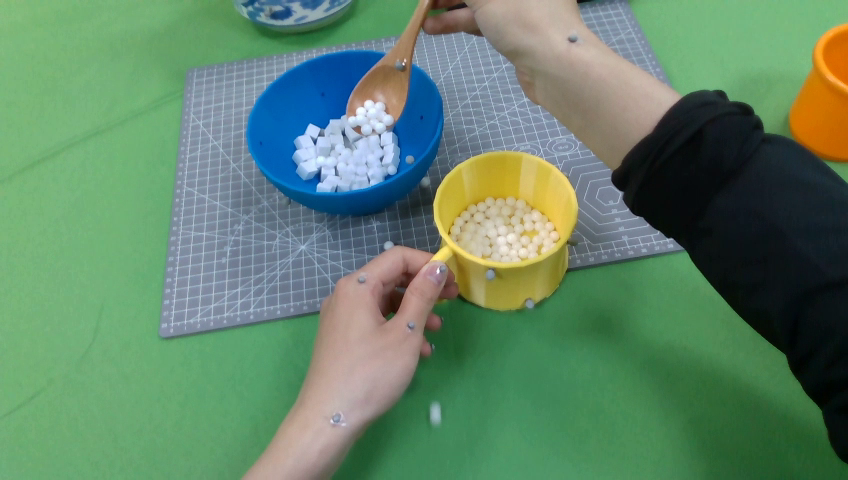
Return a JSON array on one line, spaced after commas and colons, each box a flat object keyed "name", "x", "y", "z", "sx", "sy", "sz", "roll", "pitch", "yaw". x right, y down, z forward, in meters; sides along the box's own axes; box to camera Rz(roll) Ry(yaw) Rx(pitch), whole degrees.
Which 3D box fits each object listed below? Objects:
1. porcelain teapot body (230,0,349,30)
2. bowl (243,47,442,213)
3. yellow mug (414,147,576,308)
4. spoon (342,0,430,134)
[{"name": "porcelain teapot body", "x": -0.175, "y": -0.323, "z": 0.570, "sx": 0.205, "sy": 0.227, "sz": 0.144, "roll": -5, "pitch": 58, "yaw": 3}, {"name": "bowl", "x": -0.058, "y": -0.074, "z": 0.485, "sx": 0.151, "sy": 0.077, "sz": 0.150, "roll": -2, "pitch": 57, "yaw": 4}, {"name": "yellow mug", "x": 0.045, "y": 0.000, "z": 0.436, "sx": 0.131, "sy": 0.064, "sz": 0.099, "roll": -38, "pitch": 62, "yaw": -16}, {"name": "spoon", "x": -0.001, "y": -0.160, "z": 0.415, "sx": 0.041, "sy": 0.021, "sz": 0.194, "roll": 35, "pitch": 110, "yaw": 12}]
